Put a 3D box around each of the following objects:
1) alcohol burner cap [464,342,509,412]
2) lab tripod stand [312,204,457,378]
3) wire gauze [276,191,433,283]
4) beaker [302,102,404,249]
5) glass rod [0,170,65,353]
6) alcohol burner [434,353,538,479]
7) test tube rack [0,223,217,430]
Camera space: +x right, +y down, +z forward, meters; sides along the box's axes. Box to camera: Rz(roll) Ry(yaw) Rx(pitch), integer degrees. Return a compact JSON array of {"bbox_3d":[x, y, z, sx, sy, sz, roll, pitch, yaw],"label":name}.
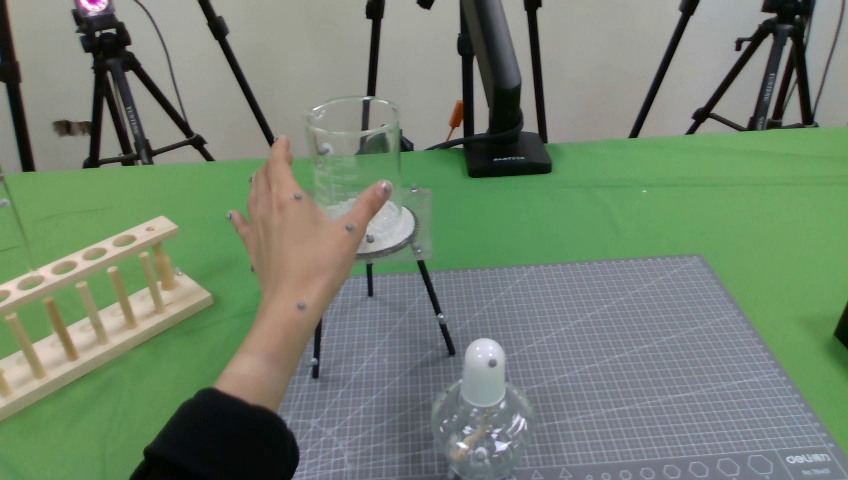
[{"bbox_3d":[0.044,0.092,0.419,0.034,0.048,0.033,0,35,0],"label":"alcohol burner cap"},{"bbox_3d":[-0.042,0.045,0.546,0.148,0.132,0.147,-1,32,1],"label":"lab tripod stand"},{"bbox_3d":[-0.053,-0.009,0.508,0.121,0.011,0.124,-2,36,1],"label":"wire gauze"},{"bbox_3d":[-0.056,-0.050,0.483,0.083,0.101,0.074,20,39,28],"label":"beaker"},{"bbox_3d":[-0.354,0.019,0.541,0.008,0.201,0.008,-2,26,1],"label":"glass rod"},{"bbox_3d":[0.045,0.122,0.439,0.078,0.120,0.077,-1,36,1],"label":"alcohol burner"},{"bbox_3d":[-0.328,0.079,0.568,0.066,0.086,0.242,25,43,36],"label":"test tube rack"}]
